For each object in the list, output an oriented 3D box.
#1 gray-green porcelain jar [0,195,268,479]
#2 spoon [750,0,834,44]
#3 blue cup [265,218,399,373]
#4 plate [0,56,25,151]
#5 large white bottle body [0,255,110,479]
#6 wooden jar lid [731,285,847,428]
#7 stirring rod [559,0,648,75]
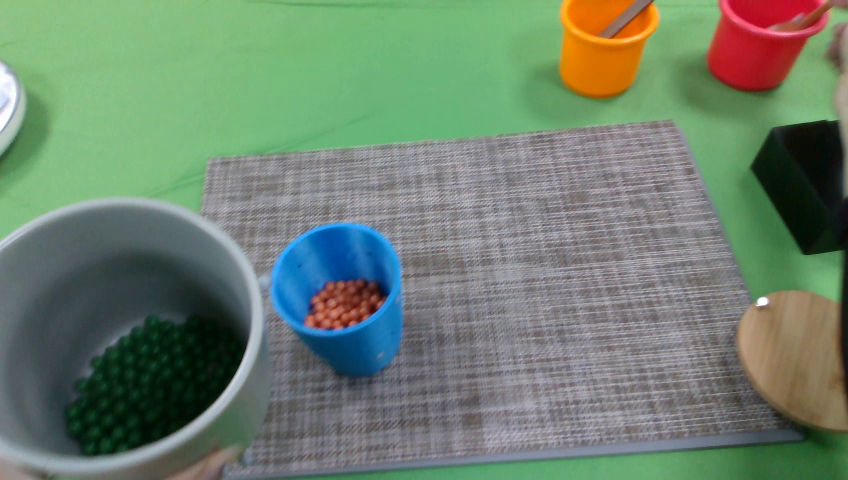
[{"bbox_3d":[-0.124,0.056,0.268,0.106,0.127,0.105,5,63,-10],"label":"gray-green porcelain jar"},{"bbox_3d":[0.364,-0.213,0.527,0.041,0.193,0.022,-42,94,-13],"label":"spoon"},{"bbox_3d":[-0.055,0.048,0.427,0.092,0.101,0.092,-2,57,3],"label":"blue cup"},{"bbox_3d":[-0.498,-0.111,0.599,0.207,0.039,0.205,-1,56,2],"label":"plate"},{"bbox_3d":[-0.301,0.071,0.377,0.130,0.186,0.129,-1,56,2],"label":"large white bottle body"},{"bbox_3d":[0.275,0.083,0.437,0.108,0.021,0.107,1,55,0],"label":"wooden jar lid"},{"bbox_3d":[0.200,-0.223,0.579,0.176,0.006,0.014,-41,56,27],"label":"stirring rod"}]
